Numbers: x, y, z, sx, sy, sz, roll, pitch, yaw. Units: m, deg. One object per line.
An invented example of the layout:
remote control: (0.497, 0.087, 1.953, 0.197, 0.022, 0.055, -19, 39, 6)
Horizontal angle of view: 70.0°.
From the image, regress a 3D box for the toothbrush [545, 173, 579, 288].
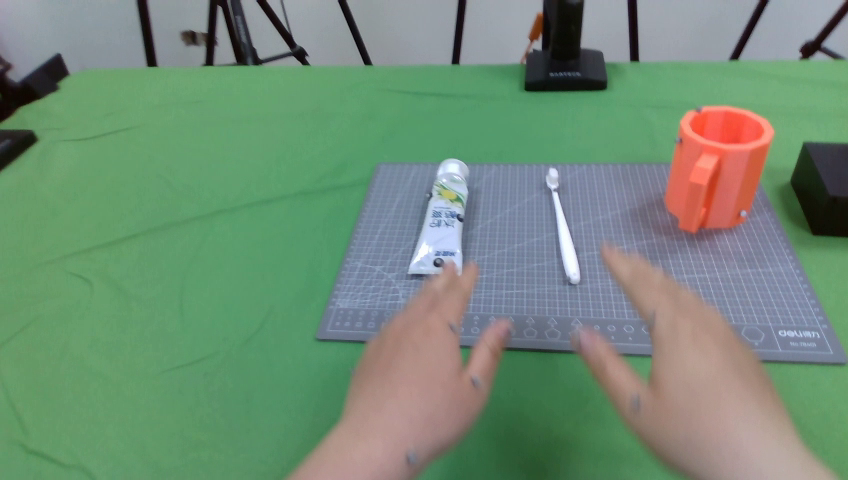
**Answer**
toothbrush: (0.147, -0.016, 0.645, 0.014, 0.017, 0.180, 7, 40, -4)

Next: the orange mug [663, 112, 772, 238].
orange mug: (0.291, -0.062, 0.619, 0.083, 0.101, 0.126, 21, 42, 30)

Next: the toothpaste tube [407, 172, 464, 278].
toothpaste tube: (0.019, -0.020, 0.657, 0.055, 0.035, 0.163, -2, 43, 11)

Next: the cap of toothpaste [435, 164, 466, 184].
cap of toothpaste: (0.031, -0.074, 0.711, 0.037, 0.038, 0.011, 4, 46, 11)
